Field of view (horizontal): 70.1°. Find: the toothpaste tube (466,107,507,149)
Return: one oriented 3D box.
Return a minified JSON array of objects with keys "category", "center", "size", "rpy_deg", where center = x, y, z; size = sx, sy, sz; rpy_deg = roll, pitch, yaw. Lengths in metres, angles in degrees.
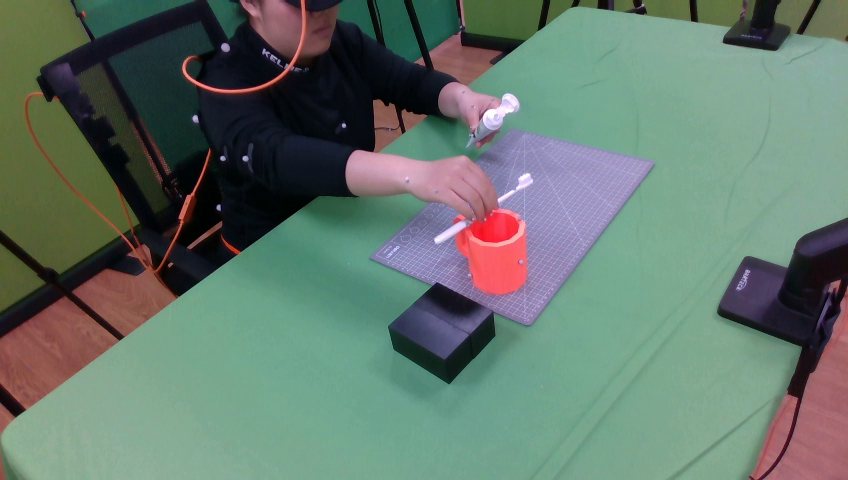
[{"category":"toothpaste tube","center":[0.108,-0.203,1.073],"size":[0.034,0.164,0.055],"rpy_deg":[34,81,-8]}]

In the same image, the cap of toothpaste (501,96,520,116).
[{"category":"cap of toothpaste","center":[0.141,-0.218,0.990],"size":[0.011,0.037,0.037],"rpy_deg":[-35,46,-23]}]

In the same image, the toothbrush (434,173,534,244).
[{"category":"toothbrush","center":[0.087,-0.046,0.856],"size":[0.182,0.017,0.014],"rpy_deg":[-33,42,-20]}]

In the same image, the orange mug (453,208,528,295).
[{"category":"orange mug","center":[0.095,0.009,0.894],"size":[0.125,0.101,0.084],"rpy_deg":[32,55,33]}]
